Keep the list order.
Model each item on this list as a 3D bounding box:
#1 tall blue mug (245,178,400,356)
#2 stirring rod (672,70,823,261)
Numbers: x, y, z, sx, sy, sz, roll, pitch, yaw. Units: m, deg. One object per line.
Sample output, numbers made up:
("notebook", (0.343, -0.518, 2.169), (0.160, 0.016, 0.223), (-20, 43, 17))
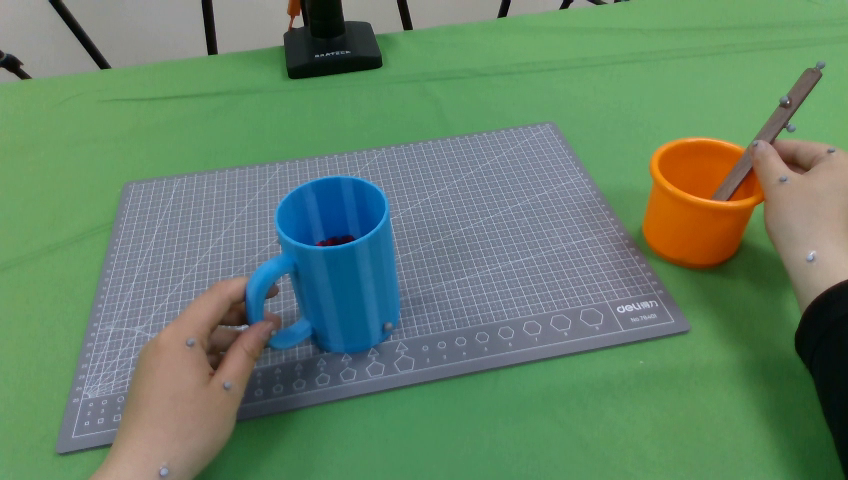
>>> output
("tall blue mug", (-0.064, 0.031, 0.425), (0.077, 0.109, 0.106), (13, 45, 15))
("stirring rod", (0.255, -0.057, 0.481), (0.176, 0.006, 0.014), (-57, 42, 9))
